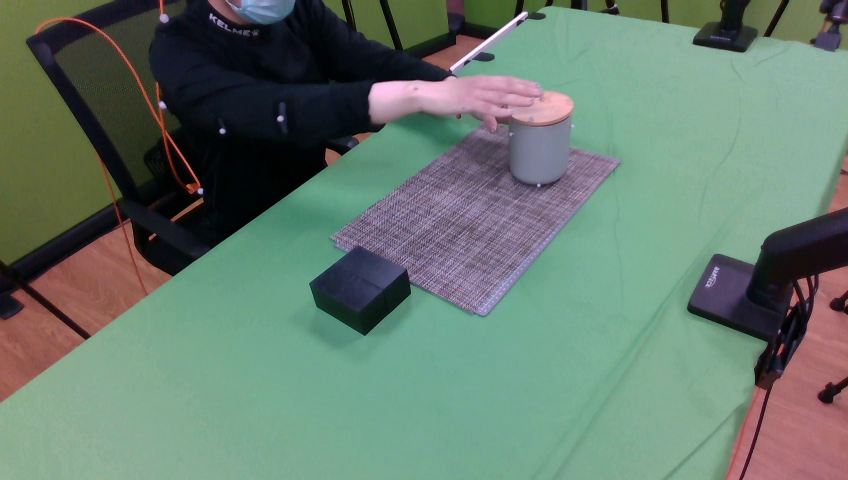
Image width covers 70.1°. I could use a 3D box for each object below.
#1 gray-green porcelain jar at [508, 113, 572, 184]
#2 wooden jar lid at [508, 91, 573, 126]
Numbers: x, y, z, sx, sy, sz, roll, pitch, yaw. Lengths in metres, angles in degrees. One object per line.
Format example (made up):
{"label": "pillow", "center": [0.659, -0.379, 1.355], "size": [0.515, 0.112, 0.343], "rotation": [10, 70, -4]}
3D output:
{"label": "gray-green porcelain jar", "center": [0.200, -0.169, 1.051], "size": [0.106, 0.127, 0.105], "rotation": [-4, 41, 4]}
{"label": "wooden jar lid", "center": [0.194, -0.216, 1.010], "size": [0.108, 0.021, 0.108], "rotation": [-6, 40, 6]}
